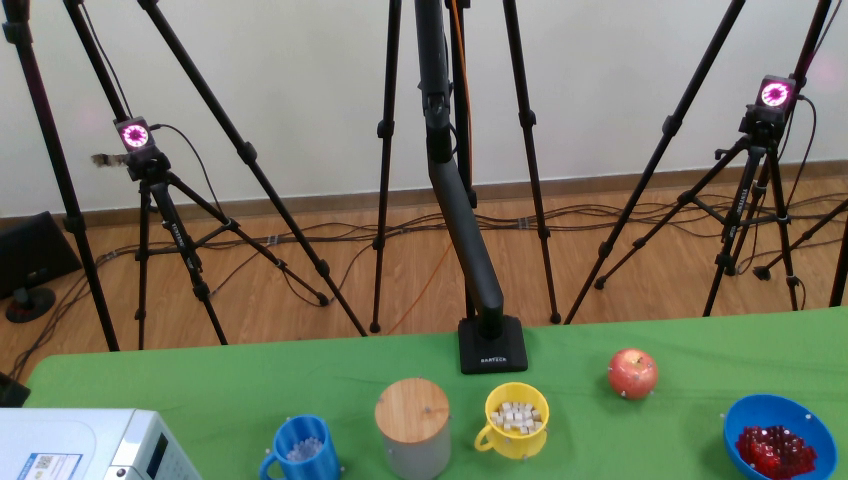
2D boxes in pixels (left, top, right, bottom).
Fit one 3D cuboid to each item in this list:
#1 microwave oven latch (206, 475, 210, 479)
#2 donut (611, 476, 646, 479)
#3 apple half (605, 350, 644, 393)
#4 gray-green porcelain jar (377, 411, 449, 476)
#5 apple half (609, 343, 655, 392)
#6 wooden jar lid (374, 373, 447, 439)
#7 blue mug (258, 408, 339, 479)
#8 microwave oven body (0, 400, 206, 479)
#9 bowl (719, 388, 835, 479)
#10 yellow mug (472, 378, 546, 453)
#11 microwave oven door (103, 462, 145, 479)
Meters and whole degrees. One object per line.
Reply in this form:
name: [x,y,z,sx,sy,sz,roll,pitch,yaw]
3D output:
microwave oven latch: [-0.338,0.389,0.892,0.030,0.030,0.078,0,44,5]
donut: [0.296,0.382,0.856,0.099,0.049,0.098,-2,44,3]
apple half: [0.323,0.226,1.003,0.033,0.082,0.080,-24,46,-25]
gray-green porcelain jar: [-0.015,0.291,0.929,0.106,0.128,0.105,-3,43,3]
apple half: [0.355,0.211,1.019,0.053,0.075,0.080,-23,42,-25]
wooden jar lid: [-0.020,0.245,0.887,0.108,0.021,0.107,-3,41,3]
blue mug: [-0.194,0.327,0.922,0.117,0.107,0.081,-21,45,-16]
microwave oven body: [-0.501,0.442,0.709,0.326,0.263,0.437,-1,44,4]
bowl: [0.511,0.304,0.899,0.151,0.077,0.150,-3,43,3]
yellow mug: [0.131,0.286,0.965,0.131,0.064,0.099,-26,47,-20]
microwave oven door: [-0.358,0.464,0.663,0.039,0.246,0.352,-1,43,5]
